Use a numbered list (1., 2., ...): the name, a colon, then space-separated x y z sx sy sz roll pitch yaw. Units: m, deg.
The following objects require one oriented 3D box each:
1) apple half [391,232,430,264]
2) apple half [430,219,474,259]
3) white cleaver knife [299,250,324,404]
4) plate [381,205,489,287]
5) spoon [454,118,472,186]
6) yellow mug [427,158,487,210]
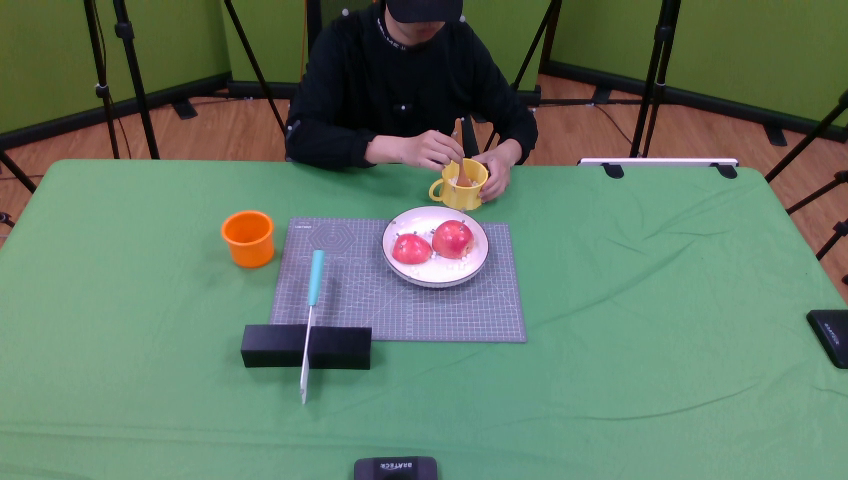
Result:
1. apple half: -0.024 0.009 1.163 0.081 0.033 0.081 2 43 -2
2. apple half: 0.056 -0.008 1.172 0.081 0.053 0.074 -33 59 -31
3. white cleaver knife: -0.194 0.134 1.019 0.021 0.066 0.284 5 50 -5
4. plate: 0.021 0.015 1.170 0.209 0.038 0.208 2 46 -2
5. spoon: 0.074 -0.160 1.230 0.041 0.195 0.021 -5 34 6
6. yellow mug: 0.067 -0.116 1.284 0.131 0.064 0.099 -17 49 -18
